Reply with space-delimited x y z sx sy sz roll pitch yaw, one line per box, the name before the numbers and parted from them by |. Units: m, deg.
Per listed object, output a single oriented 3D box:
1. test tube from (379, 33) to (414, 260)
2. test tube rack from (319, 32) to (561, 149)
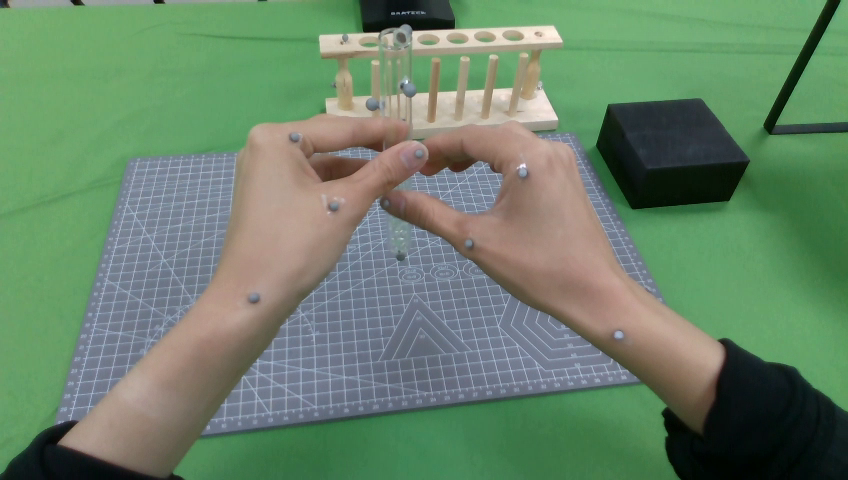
test tube | -0.014 -0.039 0.324 0.017 0.151 0.017 1 50 -1
test tube rack | 0.018 -0.156 0.627 0.243 0.086 0.066 -5 47 -8
